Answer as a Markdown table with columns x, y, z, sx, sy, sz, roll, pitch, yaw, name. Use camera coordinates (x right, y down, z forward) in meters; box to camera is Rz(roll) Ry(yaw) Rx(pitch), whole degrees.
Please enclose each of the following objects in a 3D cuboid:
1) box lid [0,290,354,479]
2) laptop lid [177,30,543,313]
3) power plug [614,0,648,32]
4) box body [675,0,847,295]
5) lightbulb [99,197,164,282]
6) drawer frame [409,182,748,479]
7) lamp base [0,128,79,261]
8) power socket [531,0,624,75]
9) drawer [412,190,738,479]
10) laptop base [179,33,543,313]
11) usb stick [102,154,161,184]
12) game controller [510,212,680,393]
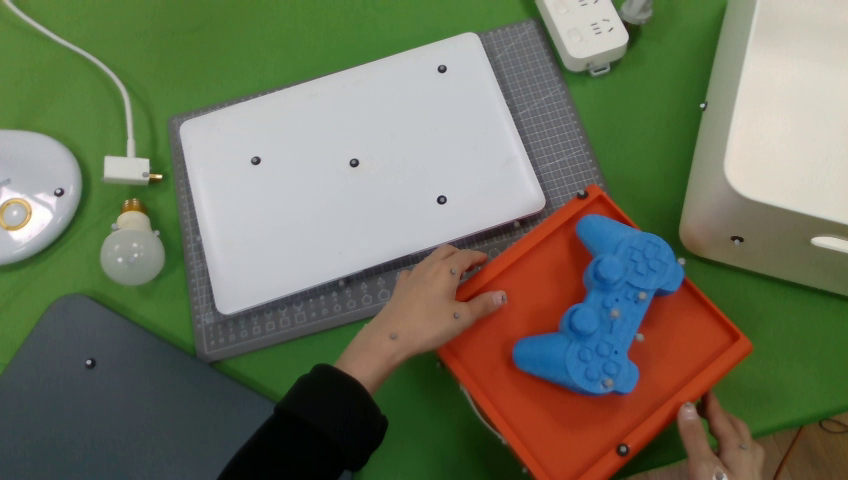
| x | y | z | sx | sy | sz | roll | pitch | yaw | name |
| --- | --- | --- | --- | --- | --- | --- | --- | --- | --- |
| -0.278 | 0.227 | 0.569 | 0.370 | 0.015 | 0.262 | 25 | 74 | 12 | box lid |
| -0.076 | -0.083 | 0.648 | 0.357 | 0.013 | 0.240 | -17 | 72 | -1 | laptop lid |
| 0.247 | -0.269 | 0.691 | 0.072 | 0.053 | 0.035 | -35 | 66 | -27 | power plug |
| 0.404 | -0.139 | 0.566 | 0.253 | 0.161 | 0.362 | 16 | 72 | 10 | box body |
| -0.306 | -0.005 | 0.635 | 0.059 | 0.060 | 0.106 | -18 | 54 | -2 | lightbulb |
| 0.129 | 0.089 | 0.547 | 0.213 | 0.083 | 0.200 | -37 | 72 | -9 | drawer frame |
| -0.481 | -0.086 | 0.608 | 0.160 | 0.181 | 0.178 | -43 | 69 | -11 | lamp base |
| 0.162 | -0.294 | 0.710 | 0.072 | 0.033 | 0.225 | -17 | 69 | -3 | power socket |
| 0.130 | 0.091 | 0.548 | 0.212 | 0.074 | 0.193 | -37 | 71 | -9 | drawer |
| -0.076 | -0.081 | 0.660 | 0.354 | 0.023 | 0.234 | -18 | 73 | -2 | laptop base |
| -0.321 | -0.077 | 0.666 | 0.059 | 0.021 | 0.027 | 5 | 71 | -29 | usb stick |
| 0.146 | 0.053 | 0.504 | 0.097 | 0.052 | 0.154 | 28 | 76 | 9 | game controller |
